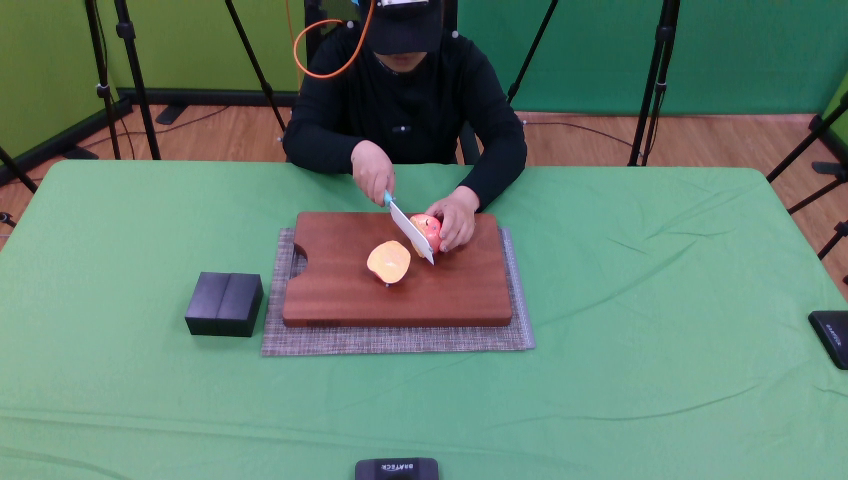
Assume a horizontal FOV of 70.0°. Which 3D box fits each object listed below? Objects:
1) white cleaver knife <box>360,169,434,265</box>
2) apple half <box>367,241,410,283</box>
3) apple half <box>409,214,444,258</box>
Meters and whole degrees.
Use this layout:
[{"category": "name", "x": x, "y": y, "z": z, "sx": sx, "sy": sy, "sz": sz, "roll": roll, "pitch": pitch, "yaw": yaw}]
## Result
[{"category": "white cleaver knife", "x": -0.055, "y": -0.048, "z": 1.130, "sx": 0.021, "sy": 0.066, "sz": 0.284, "roll": -23, "pitch": 44, "yaw": -16}, {"category": "apple half", "x": -0.059, "y": 0.043, "z": 1.100, "sx": 0.081, "sy": 0.033, "sz": 0.081, "roll": -3, "pitch": 67, "yaw": 7}, {"category": "apple half", "x": 0.010, "y": -0.009, "z": 1.134, "sx": 0.053, "sy": 0.075, "sz": 0.080, "roll": -15, "pitch": 45, "yaw": -23}]
